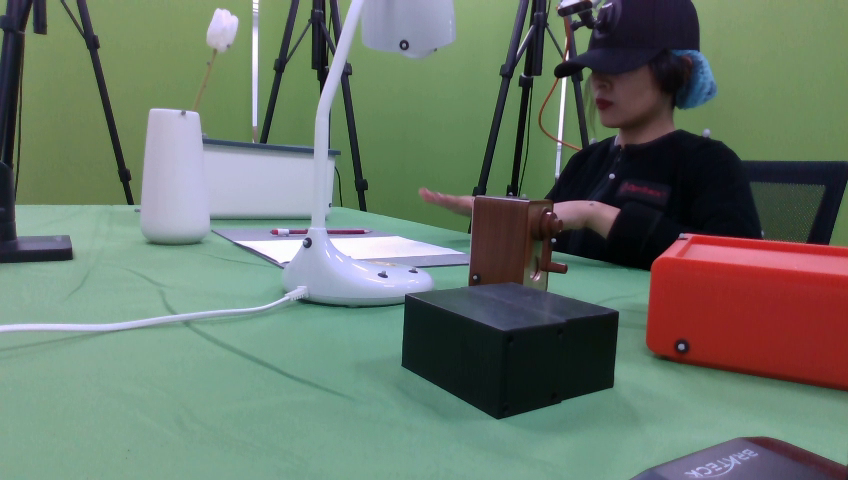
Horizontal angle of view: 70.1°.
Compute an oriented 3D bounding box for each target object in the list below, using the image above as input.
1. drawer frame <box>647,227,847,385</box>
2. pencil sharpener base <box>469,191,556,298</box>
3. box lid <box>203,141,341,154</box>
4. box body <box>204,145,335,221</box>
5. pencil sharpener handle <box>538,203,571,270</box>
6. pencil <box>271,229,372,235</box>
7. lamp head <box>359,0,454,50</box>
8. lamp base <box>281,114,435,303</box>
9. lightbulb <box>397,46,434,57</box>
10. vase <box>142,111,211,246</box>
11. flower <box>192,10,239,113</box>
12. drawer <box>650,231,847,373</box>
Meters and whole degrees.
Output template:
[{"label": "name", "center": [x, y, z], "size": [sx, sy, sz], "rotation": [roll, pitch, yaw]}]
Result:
[{"label": "drawer frame", "center": [0.303, 0.043, 0.495], "size": [0.201, 0.082, 0.214], "rotation": [6, 9, 26]}, {"label": "pencil sharpener base", "center": [0.097, 0.003, 0.652], "size": [0.076, 0.107, 0.061], "rotation": [8, 9, 38]}, {"label": "box lid", "center": [-0.396, -0.212, 1.373], "size": [0.373, 0.015, 0.262], "rotation": [-1, 9, -29]}, {"label": "box body", "center": [-0.411, -0.135, 1.386], "size": [0.366, 0.160, 0.253], "rotation": [-2, 9, -29]}, {"label": "pencil sharpener handle", "center": [0.137, -0.003, 0.619], "size": [0.030, 0.067, 0.036], "rotation": [8, 6, 38]}, {"label": "pencil", "center": [-0.178, -0.014, 1.081], "size": [0.195, 0.012, 0.012], "rotation": [0, 7, -34]}, {"label": "lamp head", "center": [-0.024, -0.283, 0.674], "size": [0.112, 0.123, 0.112], "rotation": [-3, 38, 3]}, {"label": "lamp base", "center": [-0.071, -0.035, 0.614], "size": [0.160, 0.180, 0.180], "rotation": [6, 10, 27]}, {"label": "lightbulb", "center": [-0.017, -0.264, 0.691], "size": [0.059, 0.108, 0.059], "rotation": [-9, 29, 5]}, {"label": "vase", "center": [-0.378, -0.093, 0.920], "size": [0.098, 0.200, 0.098], "rotation": [2, 9, 0]}, {"label": "flower", "center": [-0.354, -0.174, 0.915], "size": [0.038, 0.361, 0.044], "rotation": [18, -3, 12]}, {"label": "drawer", "center": [0.303, 0.044, 0.499], "size": [0.194, 0.073, 0.212], "rotation": [7, 9, 27]}]
